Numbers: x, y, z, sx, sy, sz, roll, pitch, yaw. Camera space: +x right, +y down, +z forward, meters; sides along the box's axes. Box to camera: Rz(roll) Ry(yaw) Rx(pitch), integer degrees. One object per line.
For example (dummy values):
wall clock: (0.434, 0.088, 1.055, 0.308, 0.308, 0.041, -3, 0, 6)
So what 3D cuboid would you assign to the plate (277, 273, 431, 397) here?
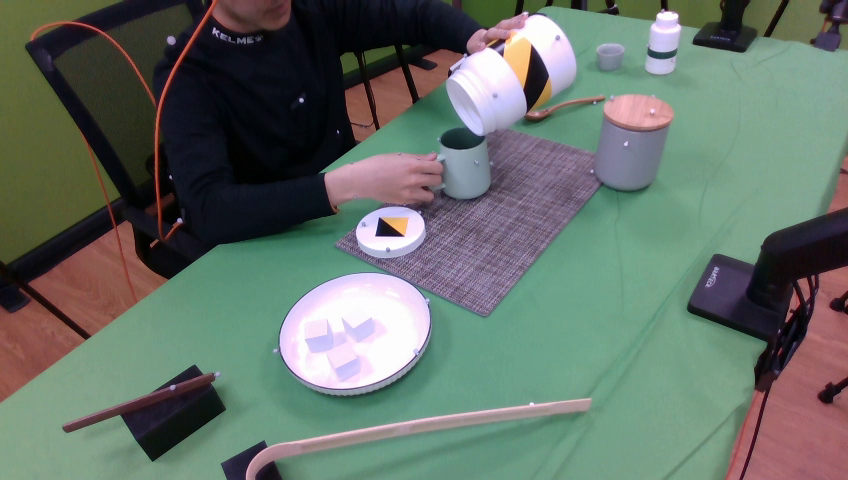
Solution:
plate: (-0.091, 0.129, 0.821, 0.207, 0.039, 0.206, -4, 40, 4)

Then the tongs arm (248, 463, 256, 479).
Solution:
tongs arm: (0.012, 0.262, 0.615, 0.385, 0.026, 0.050, 2, 41, -2)

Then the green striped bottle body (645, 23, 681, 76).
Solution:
green striped bottle body: (0.520, -0.424, 1.312, 0.063, 0.120, 0.063, -4, 40, 4)

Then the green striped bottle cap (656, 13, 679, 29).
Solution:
green striped bottle cap: (0.515, -0.463, 1.278, 0.044, 0.020, 0.044, -6, 42, 6)

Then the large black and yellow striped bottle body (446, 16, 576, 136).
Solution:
large black and yellow striped bottle body: (0.141, -0.266, 0.996, 0.184, 0.131, 0.129, -35, 45, -7)

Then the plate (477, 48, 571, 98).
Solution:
plate: (0.223, -0.371, 1.357, 0.209, 0.038, 0.208, -4, 41, 4)

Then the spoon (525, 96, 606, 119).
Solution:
spoon: (0.291, -0.277, 1.249, 0.194, 0.022, 0.041, -17, 24, -11)

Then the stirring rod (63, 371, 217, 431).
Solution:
stirring rod: (-0.337, 0.192, 0.723, 0.177, 0.014, 0.005, -18, 43, -12)

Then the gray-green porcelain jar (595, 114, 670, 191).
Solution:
gray-green porcelain jar: (0.346, -0.155, 1.017, 0.106, 0.127, 0.105, -2, 44, 2)

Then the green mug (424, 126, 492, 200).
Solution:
green mug: (0.056, -0.125, 1.038, 0.126, 0.105, 0.091, -26, 44, -21)

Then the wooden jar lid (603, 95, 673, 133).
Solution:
wooden jar lid: (0.343, -0.200, 0.974, 0.108, 0.021, 0.108, -2, 39, 2)

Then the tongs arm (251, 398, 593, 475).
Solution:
tongs arm: (0.008, 0.212, 0.675, 0.389, 0.028, 0.028, -5, 46, -11)

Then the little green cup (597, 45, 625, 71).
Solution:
little green cup: (0.423, -0.413, 1.375, 0.061, 0.039, 0.061, -3, 41, 3)

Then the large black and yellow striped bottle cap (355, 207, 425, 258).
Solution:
large black and yellow striped bottle cap: (-0.056, -0.014, 0.993, 0.115, 0.019, 0.114, -3, 40, 3)
